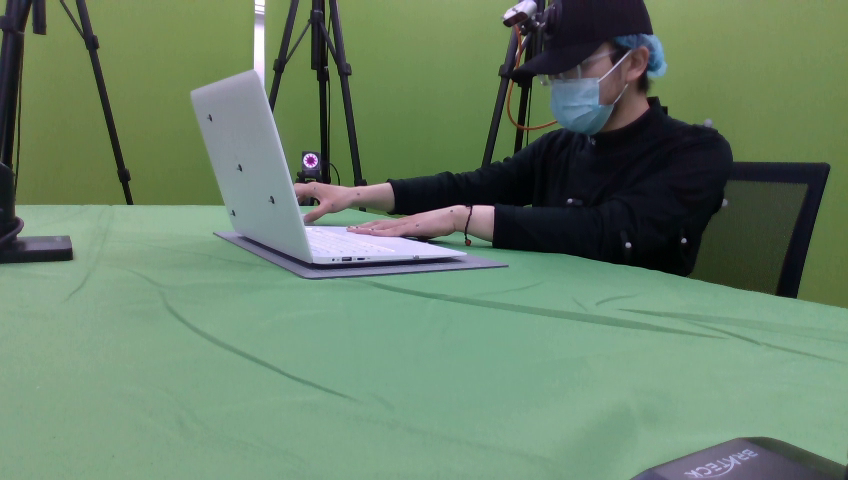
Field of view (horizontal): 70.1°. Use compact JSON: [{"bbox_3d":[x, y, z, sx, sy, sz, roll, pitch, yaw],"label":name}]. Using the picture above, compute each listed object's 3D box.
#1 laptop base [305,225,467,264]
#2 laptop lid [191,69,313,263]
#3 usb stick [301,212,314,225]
[{"bbox_3d":[-0.126,0.005,0.936,0.237,0.023,0.352,2,6,-33],"label":"laptop base"},{"bbox_3d":[-0.251,-0.102,0.840,0.013,0.242,0.355,-22,20,-28],"label":"laptop lid"},{"bbox_3d":[-0.255,-0.042,1.232,0.059,0.027,0.021,-10,17,-41],"label":"usb stick"}]
